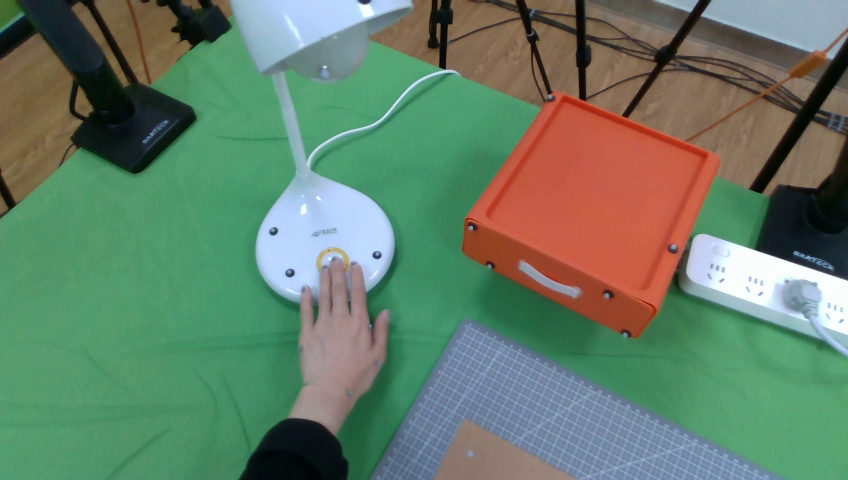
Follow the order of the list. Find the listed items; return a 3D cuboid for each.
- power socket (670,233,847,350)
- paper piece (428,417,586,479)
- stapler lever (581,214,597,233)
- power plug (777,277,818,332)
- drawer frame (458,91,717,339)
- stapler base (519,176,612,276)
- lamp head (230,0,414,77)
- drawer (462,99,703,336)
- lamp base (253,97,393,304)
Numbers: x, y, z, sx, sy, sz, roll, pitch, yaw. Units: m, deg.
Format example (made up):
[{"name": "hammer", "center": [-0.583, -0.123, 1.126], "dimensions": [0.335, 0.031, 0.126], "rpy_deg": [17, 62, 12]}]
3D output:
[{"name": "power socket", "center": [0.390, 0.056, 0.675], "dimensions": [0.226, 0.033, 0.072], "rpy_deg": [20, 60, 11]}, {"name": "paper piece", "center": [0.064, 0.252, 0.559], "dimensions": [0.135, 0.009, 0.137], "rpy_deg": [24, 62, 17]}, {"name": "stapler lever", "center": [0.143, -0.033, 0.638], "dimensions": [0.027, 0.040, 0.117], "rpy_deg": [-33, 58, -1]}, {"name": "power plug", "center": [0.388, 0.069, 0.640], "dimensions": [0.035, 0.053, 0.072], "rpy_deg": [30, 63, 17]}, {"name": "drawer frame", "center": [0.173, -0.036, 0.649], "dimensions": [0.200, 0.083, 0.213], "rpy_deg": [26, 60, 15]}, {"name": "stapler base", "center": [0.152, -0.021, 0.660], "dimensions": [0.041, 0.025, 0.129], "rpy_deg": [-33, 60, -1]}, {"name": "lamp head", "center": [-0.081, -0.179, 0.385], "dimensions": [0.112, 0.112, 0.123], "rpy_deg": [-30, 101, -18]}, {"name": "drawer", "center": [0.174, -0.033, 0.647], "dimensions": [0.193, 0.074, 0.211], "rpy_deg": [27, 60, 16]}, {"name": "lamp base", "center": [-0.122, -0.048, 0.645], "dimensions": [0.161, 0.182, 0.177], "rpy_deg": [-22, 58, -15]}]
